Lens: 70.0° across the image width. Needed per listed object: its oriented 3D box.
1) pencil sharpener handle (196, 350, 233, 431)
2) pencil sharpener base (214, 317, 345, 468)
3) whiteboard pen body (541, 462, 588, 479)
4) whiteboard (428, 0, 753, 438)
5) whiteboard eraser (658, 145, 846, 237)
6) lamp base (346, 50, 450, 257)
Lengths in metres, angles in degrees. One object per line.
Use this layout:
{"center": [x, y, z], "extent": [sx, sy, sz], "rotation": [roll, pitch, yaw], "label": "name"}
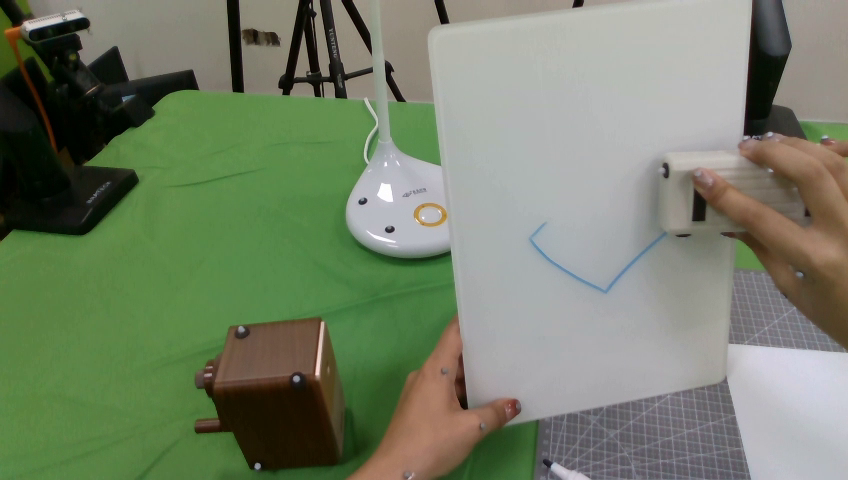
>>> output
{"center": [-0.156, 0.113, 0.440], "extent": [0.030, 0.068, 0.035], "rotation": [-5, 27, 0], "label": "pencil sharpener handle"}
{"center": [-0.105, 0.116, 0.452], "extent": [0.077, 0.108, 0.060], "rotation": [-5, 40, 0], "label": "pencil sharpener base"}
{"center": [0.140, 0.189, 0.410], "extent": [0.139, 0.017, 0.017], "rotation": [24, 47, 33], "label": "whiteboard pen body"}
{"center": [0.117, -0.026, 0.495], "extent": [0.217, 0.307, 0.142], "rotation": [-9, 21, -5], "label": "whiteboard"}
{"center": [0.220, -0.034, 0.414], "extent": [0.112, 0.056, 0.041], "rotation": [-3, 23, 5], "label": "whiteboard eraser"}
{"center": [-0.021, -0.100, 0.649], "extent": [0.161, 0.182, 0.177], "rotation": [-27, 42, -25], "label": "lamp base"}
